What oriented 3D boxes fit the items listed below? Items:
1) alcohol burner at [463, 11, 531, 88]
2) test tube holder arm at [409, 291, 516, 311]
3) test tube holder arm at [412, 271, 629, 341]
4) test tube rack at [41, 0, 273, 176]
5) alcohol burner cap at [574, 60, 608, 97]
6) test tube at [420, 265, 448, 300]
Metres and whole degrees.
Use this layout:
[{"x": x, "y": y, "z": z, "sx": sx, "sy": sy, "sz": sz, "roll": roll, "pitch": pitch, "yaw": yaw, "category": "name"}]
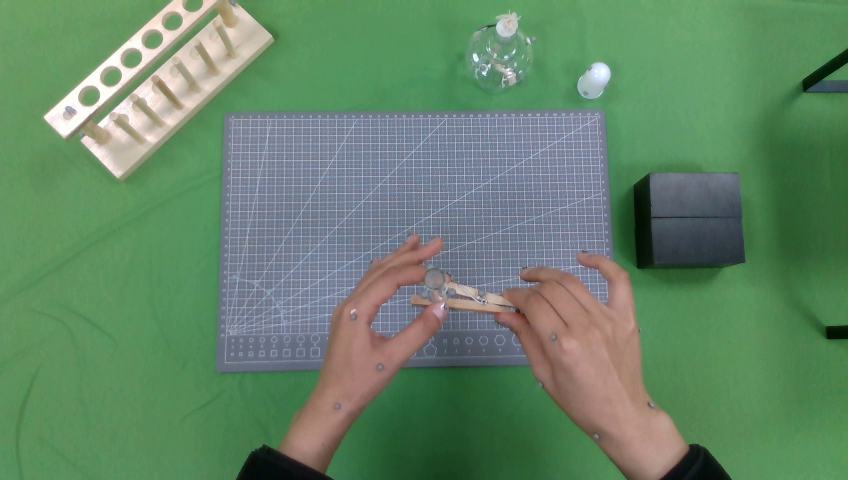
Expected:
[{"x": 0.084, "y": -0.218, "z": 0.677, "sx": 0.078, "sy": 0.119, "sz": 0.077, "roll": 1, "pitch": 80, "yaw": -3, "category": "alcohol burner"}, {"x": 0.031, "y": 0.050, "z": 0.495, "sx": 0.088, "sy": 0.015, "sz": 0.010, "roll": 4, "pitch": 80, "yaw": 5, "category": "test tube holder arm"}, {"x": 0.076, "y": 0.053, "z": 0.491, "sx": 0.178, "sy": 0.015, "sz": 0.013, "roll": 14, "pitch": 82, "yaw": 7, "category": "test tube holder arm"}, {"x": -0.288, "y": -0.188, "z": 0.675, "sx": 0.066, "sy": 0.085, "sz": 0.242, "roll": 44, "pitch": 83, "yaw": 6, "category": "test tube rack"}, {"x": 0.199, "y": -0.192, "z": 0.713, "sx": 0.034, "sy": 0.048, "sz": 0.033, "roll": 0, "pitch": 80, "yaw": -1, "category": "alcohol burner cap"}, {"x": 0.010, "y": 0.039, "z": 0.481, "sx": 0.017, "sy": 0.151, "sz": 0.017, "roll": -1, "pitch": 79, "yaw": 4, "category": "test tube"}]
